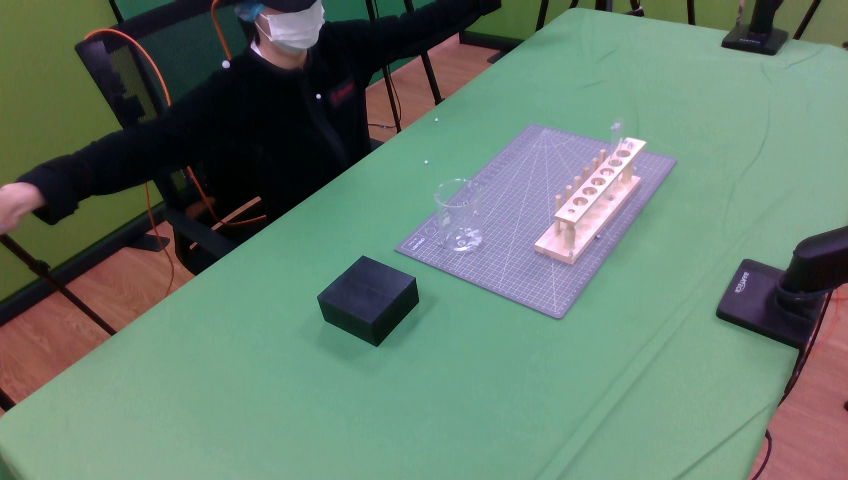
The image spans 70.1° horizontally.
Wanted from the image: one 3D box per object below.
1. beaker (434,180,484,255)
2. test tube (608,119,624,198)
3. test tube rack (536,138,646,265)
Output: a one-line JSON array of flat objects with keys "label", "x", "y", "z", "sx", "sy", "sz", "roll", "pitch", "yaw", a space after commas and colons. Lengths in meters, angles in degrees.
[{"label": "beaker", "x": 0.058, "y": -0.035, "z": 0.944, "sx": 0.073, "sy": 0.101, "sz": 0.084, "roll": 16, "pitch": 45, "yaw": 26}, {"label": "test tube", "x": 0.300, "y": -0.124, "z": 0.945, "sx": 0.017, "sy": 0.151, "sz": 0.017, "roll": -6, "pitch": 44, "yaw": 7}, {"label": "test tube rack", "x": 0.268, "y": -0.071, "z": 0.964, "sx": 0.066, "sy": 0.085, "sz": 0.243, "roll": 23, "pitch": 49, "yaw": 32}]
